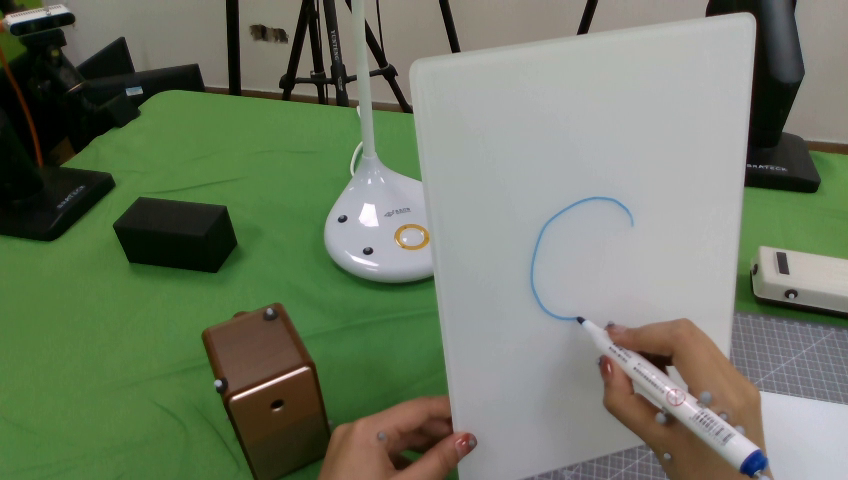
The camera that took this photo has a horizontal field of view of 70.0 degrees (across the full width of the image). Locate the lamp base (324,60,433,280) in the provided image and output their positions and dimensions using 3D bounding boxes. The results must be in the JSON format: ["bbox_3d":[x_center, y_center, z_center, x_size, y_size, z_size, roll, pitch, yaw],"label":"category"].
[{"bbox_3d":[-0.037,-0.078,0.613,0.161,0.182,0.177,-24,42,-24],"label":"lamp base"}]

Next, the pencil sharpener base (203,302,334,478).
[{"bbox_3d":[-0.114,0.110,0.448,0.061,0.108,0.076,-21,43,-20],"label":"pencil sharpener base"}]

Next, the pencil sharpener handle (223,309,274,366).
[{"bbox_3d":[-0.137,0.072,0.475,0.036,0.068,0.030,-27,45,-15],"label":"pencil sharpener handle"}]

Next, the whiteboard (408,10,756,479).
[{"bbox_3d":[0.099,0.003,0.457,0.217,0.307,0.142,-11,21,-10],"label":"whiteboard"}]

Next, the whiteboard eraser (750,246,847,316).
[{"bbox_3d":[0.366,0.041,0.563,0.112,0.042,0.055,9,40,14],"label":"whiteboard eraser"}]

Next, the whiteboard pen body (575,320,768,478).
[{"bbox_3d":[0.133,0.083,0.350,0.017,0.017,0.139,-20,34,-20],"label":"whiteboard pen body"}]
